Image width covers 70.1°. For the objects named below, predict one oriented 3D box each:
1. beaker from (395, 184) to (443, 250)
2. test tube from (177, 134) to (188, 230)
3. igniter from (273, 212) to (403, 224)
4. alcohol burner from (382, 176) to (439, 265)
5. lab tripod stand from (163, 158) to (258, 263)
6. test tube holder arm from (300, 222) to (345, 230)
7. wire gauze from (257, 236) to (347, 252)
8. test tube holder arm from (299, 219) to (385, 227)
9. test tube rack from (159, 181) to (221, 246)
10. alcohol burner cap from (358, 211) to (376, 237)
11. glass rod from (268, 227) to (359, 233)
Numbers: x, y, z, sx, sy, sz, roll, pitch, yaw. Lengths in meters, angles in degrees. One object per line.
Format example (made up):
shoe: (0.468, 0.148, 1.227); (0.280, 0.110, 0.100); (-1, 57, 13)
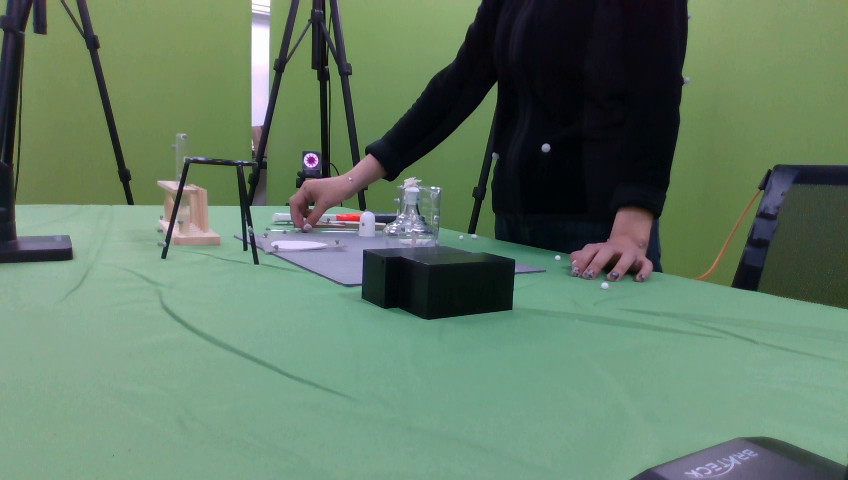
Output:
beaker: (-0.007, -0.037, 0.965); (0.074, 0.100, 0.083); (-4, 11, -40)
test tube: (-0.374, -0.089, 0.938); (0.017, 0.150, 0.017); (2, 4, 0)
igniter: (-0.179, -0.048, 1.290); (0.278, 0.025, 0.057); (-1, -2, -24)
alcohol burner: (-0.018, -0.026, 0.818); (0.078, 0.119, 0.078); (3, 9, 0)
lab tripod stand: (-0.265, -0.041, 0.802); (0.148, 0.131, 0.148); (4, 7, 0)
test tube holder arm: (-0.196, -0.027, 1.171); (0.088, 0.015, 0.010); (-1, 46, -29)
wire gauze: (-0.189, 0.006, 0.931); (0.122, 0.011, 0.124); (1, 7, -21)
test tube holder arm: (-0.159, -0.032, 1.197); (0.179, 0.015, 0.013); (-3, 47, -30)
test tube rack: (-0.395, -0.050, 1.010); (0.067, 0.085, 0.241); (-2, 8, -28)
alcohol burner cap: (-0.104, -0.030, 1.098); (0.034, 0.048, 0.034); (3, 8, 0)
glass rod: (-0.191, -0.018, 1.127); (0.201, 0.008, 0.008); (1, 6, -33)
